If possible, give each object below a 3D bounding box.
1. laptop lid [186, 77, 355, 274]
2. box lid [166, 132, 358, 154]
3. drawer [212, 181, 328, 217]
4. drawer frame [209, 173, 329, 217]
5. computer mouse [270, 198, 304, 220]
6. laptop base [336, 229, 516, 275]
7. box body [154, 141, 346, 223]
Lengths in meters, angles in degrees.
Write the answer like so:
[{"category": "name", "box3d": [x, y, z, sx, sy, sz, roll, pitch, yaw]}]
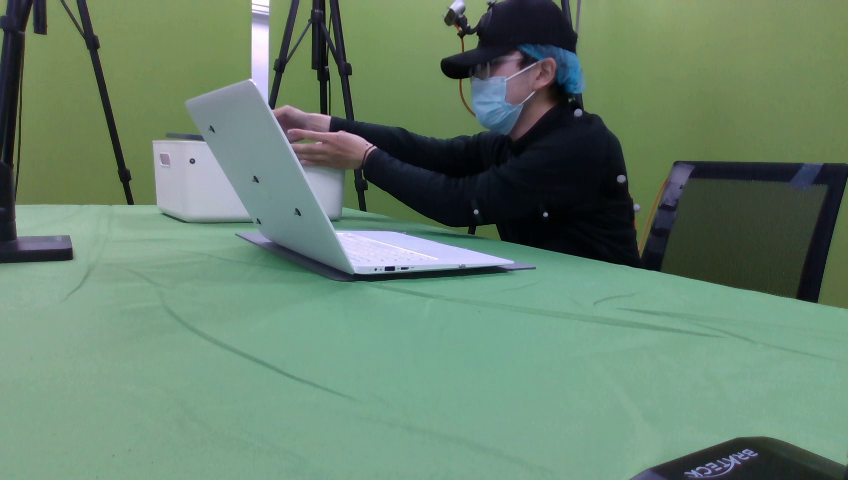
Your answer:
[{"category": "laptop lid", "box3d": [-0.211, -0.081, 0.772, 0.013, 0.242, 0.355, -35, 25, -23]}, {"category": "box lid", "box3d": [-0.358, -0.215, 1.349, 0.373, 0.015, 0.262, 0, 10, -33]}, {"category": "drawer", "box3d": [-0.349, -0.096, 1.366, 0.213, 0.073, 0.193, -2, 10, -32]}, {"category": "drawer frame", "box3d": [-0.351, -0.107, 1.367, 0.215, 0.082, 0.200, -7, 11, -33]}, {"category": "computer mouse", "box3d": [-0.319, -0.073, 1.402, 0.063, 0.041, 0.116, 4, 13, -24]}, {"category": "laptop base", "box3d": [-0.065, 0.014, 0.877, 0.237, 0.023, 0.352, 2, 7, -32]}, {"category": "box body", "box3d": [-0.383, -0.132, 1.347, 0.366, 0.160, 0.253, -3, 9, -36]}]
